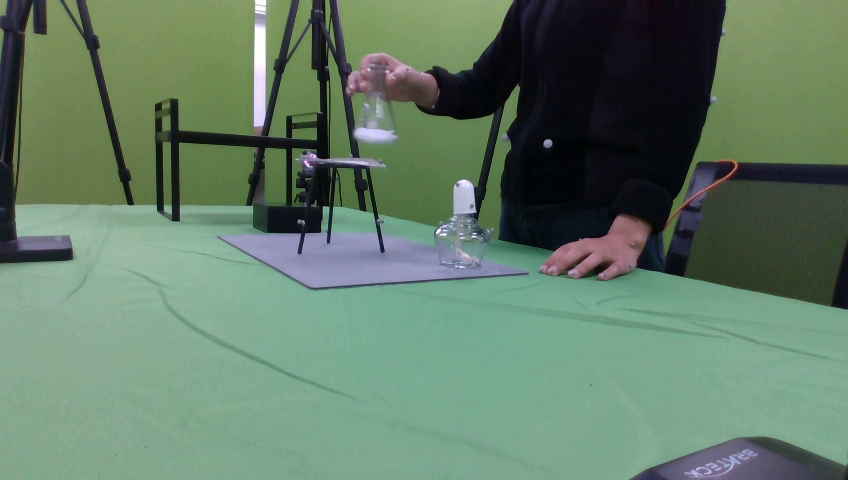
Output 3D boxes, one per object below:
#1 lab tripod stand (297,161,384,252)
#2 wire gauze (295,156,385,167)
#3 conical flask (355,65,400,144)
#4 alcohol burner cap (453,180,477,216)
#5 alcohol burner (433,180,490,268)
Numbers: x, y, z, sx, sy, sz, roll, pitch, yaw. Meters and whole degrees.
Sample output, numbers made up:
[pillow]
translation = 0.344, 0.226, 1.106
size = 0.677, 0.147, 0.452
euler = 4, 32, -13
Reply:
[lab tripod stand]
translation = -0.130, -0.051, 0.903
size = 0.148, 0.131, 0.148
euler = 4, 9, 0
[wire gauze]
translation = -0.128, -0.118, 0.901
size = 0.125, 0.011, 0.121
euler = 0, 8, -14
[conical flask]
translation = -0.074, -0.221, 0.982
size = 0.075, 0.122, 0.075
euler = 3, 15, 0
[alcohol burner cap]
translation = 0.054, -0.057, 0.811
size = 0.034, 0.048, 0.034
euler = -3, 6, 1
[alcohol burner]
translation = 0.052, -0.021, 0.815
size = 0.078, 0.119, 0.078
euler = 4, 7, 0
